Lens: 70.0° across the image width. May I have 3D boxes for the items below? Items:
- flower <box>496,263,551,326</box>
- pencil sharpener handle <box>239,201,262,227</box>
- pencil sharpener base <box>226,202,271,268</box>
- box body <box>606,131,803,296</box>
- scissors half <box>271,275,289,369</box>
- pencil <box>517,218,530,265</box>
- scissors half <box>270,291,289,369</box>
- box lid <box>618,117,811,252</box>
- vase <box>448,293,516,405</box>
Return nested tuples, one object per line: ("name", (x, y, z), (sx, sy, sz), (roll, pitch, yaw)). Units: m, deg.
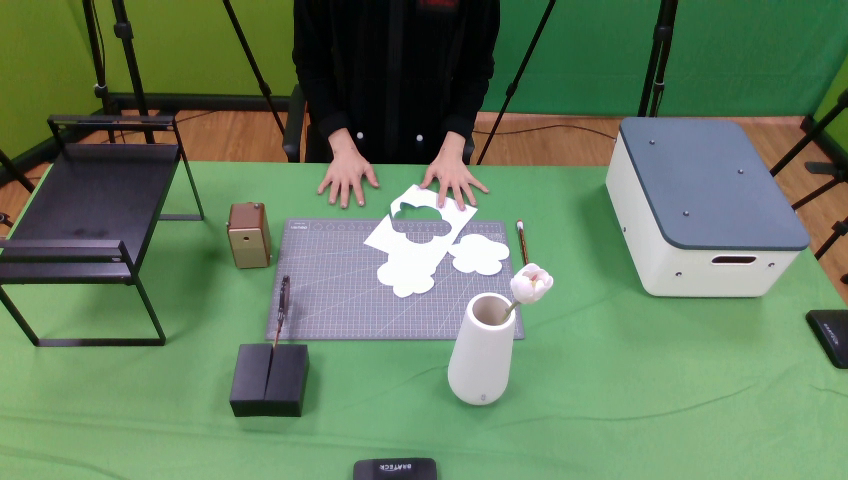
("flower", (0.102, 0.121, 0.853), (0.044, 0.363, 0.038), (-2, 64, -10))
("pencil sharpener handle", (-0.325, -0.055, 1.150), (0.036, 0.068, 0.030), (-12, 46, 3))
("pencil sharpener base", (-0.323, -0.010, 1.123), (0.061, 0.107, 0.076), (-3, 46, -6))
("box body", (0.530, -0.067, 1.204), (0.254, 0.161, 0.361), (0, 46, -4))
("scissors half", (-0.240, 0.131, 1.000), (0.013, 0.040, 0.174), (3, 56, -4))
("pencil", (0.201, 0.028, 1.197), (0.012, 0.012, 0.193), (1, 48, -4))
("scissors half", (-0.243, 0.145, 1.015), (0.013, 0.040, 0.174), (7, 38, -7))
("box lid", (0.534, -0.117, 1.149), (0.263, 0.015, 0.369), (0, 47, -3))
("vase", (0.091, 0.169, 0.921), (0.098, 0.201, 0.097), (3, 47, -3))
